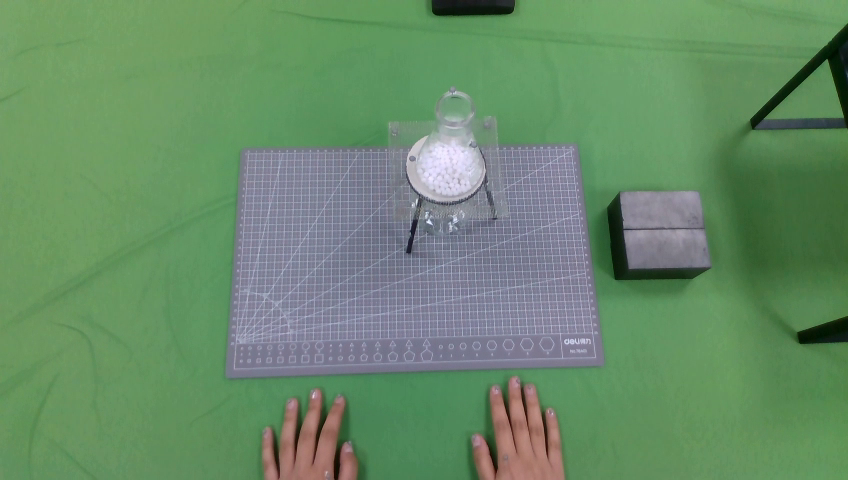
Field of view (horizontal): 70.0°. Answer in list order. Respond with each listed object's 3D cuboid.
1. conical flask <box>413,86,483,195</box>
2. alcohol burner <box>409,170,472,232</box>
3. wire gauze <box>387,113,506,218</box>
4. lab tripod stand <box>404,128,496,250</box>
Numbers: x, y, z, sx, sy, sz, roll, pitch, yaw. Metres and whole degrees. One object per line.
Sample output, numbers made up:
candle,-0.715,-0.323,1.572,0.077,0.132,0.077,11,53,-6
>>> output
conical flask,0.027,-0.101,0.601,0.075,0.122,0.075,1,70,-1
alcohol burner,0.020,-0.054,0.727,0.078,0.120,0.077,0,73,0
wire gauze,0.023,-0.081,0.657,0.125,0.011,0.120,-1,74,-5
lab tripod stand,0.019,-0.065,0.721,0.148,0.132,0.147,0,72,0
